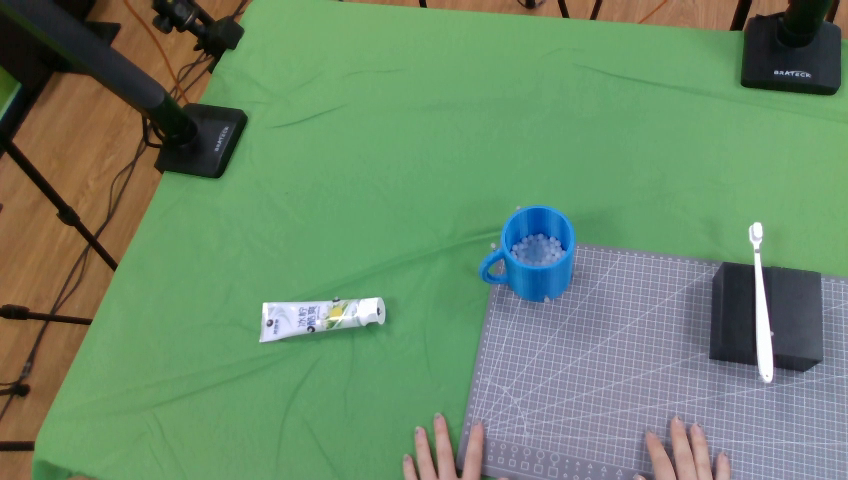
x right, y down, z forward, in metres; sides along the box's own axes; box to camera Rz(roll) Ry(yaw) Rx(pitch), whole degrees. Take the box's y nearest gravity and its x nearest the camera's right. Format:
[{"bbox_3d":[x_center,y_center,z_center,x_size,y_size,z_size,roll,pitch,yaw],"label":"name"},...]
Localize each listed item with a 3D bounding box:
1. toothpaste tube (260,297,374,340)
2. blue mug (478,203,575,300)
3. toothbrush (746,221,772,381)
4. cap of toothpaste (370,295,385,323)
[{"bbox_3d":[-0.136,0.095,0.785,0.165,0.035,0.054,-7,60,11],"label":"toothpaste tube"},{"bbox_3d":[0.120,0.022,0.723,0.116,0.107,0.081,-18,63,3],"label":"blue mug"},{"bbox_3d":[0.363,0.061,0.654,0.014,0.017,0.180,5,67,8],"label":"toothbrush"},{"bbox_3d":[-0.060,0.087,0.767,0.011,0.038,0.037,-7,64,12],"label":"cap of toothpaste"}]
